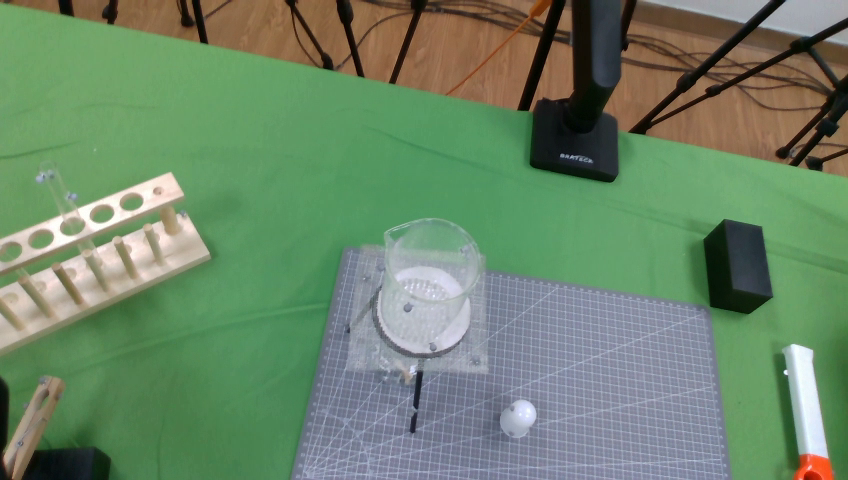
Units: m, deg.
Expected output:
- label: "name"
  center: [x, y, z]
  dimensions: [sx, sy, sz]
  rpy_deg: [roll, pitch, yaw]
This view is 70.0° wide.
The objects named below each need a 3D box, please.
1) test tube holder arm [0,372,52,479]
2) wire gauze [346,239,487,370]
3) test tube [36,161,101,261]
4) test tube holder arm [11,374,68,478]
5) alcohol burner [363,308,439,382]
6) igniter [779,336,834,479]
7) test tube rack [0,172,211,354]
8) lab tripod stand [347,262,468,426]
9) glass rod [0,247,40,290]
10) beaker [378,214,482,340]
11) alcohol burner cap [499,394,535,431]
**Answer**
- label: "test tube holder arm"
  center: [-0.348, 0.196, 0.501]
  dimensions: [0.013, 0.015, 0.177]
  rpy_deg: [11, 58, 0]
- label: "wire gauze"
  center: [-0.004, 0.058, 0.545]
  dimensions: [0.121, 0.011, 0.124]
  rpy_deg: [4, 63, -5]
- label: "test tube"
  center: [-0.342, -0.022, 0.590]
  dimensions: [0.017, 0.151, 0.017]
  rpy_deg: [5, 54, -7]
- label: "test tube holder arm"
  center: [-0.336, 0.160, 0.525]
  dimensions: [0.010, 0.015, 0.087]
  rpy_deg: [12, 58, 0]
- label: "alcohol burner"
  center: [-0.021, 0.098, 0.607]
  dimensions: [0.078, 0.120, 0.077]
  rpy_deg: [5, 58, -8]
- label: "igniter"
  center: [0.415, 0.234, 0.647]
  dimensions: [0.057, 0.025, 0.274]
  rpy_deg: [17, 59, -10]
- label: "test tube rack"
  center: [-0.354, 0.025, 0.617]
  dimensions: [0.242, 0.086, 0.066]
  rpy_deg: [-28, 67, -22]
- label: "lab tripod stand"
  center: [-0.010, 0.095, 0.598]
  dimensions: [0.149, 0.132, 0.147]
  rpy_deg: [5, 60, -8]
- label: "glass rod"
  center: [-0.399, -0.003, 0.549]
  dimensions: [0.008, 0.201, 0.008]
  rpy_deg: [1, 55, -2]
- label: "beaker"
  center: [-0.002, 0.034, 0.502]
  dimensions: [0.083, 0.101, 0.074]
  rpy_deg: [32, 60, 10]
- label: "alcohol burner cap"
  center: [0.098, 0.176, 0.622]
  dimensions: [0.034, 0.048, 0.033]
  rpy_deg: [3, 62, -4]
